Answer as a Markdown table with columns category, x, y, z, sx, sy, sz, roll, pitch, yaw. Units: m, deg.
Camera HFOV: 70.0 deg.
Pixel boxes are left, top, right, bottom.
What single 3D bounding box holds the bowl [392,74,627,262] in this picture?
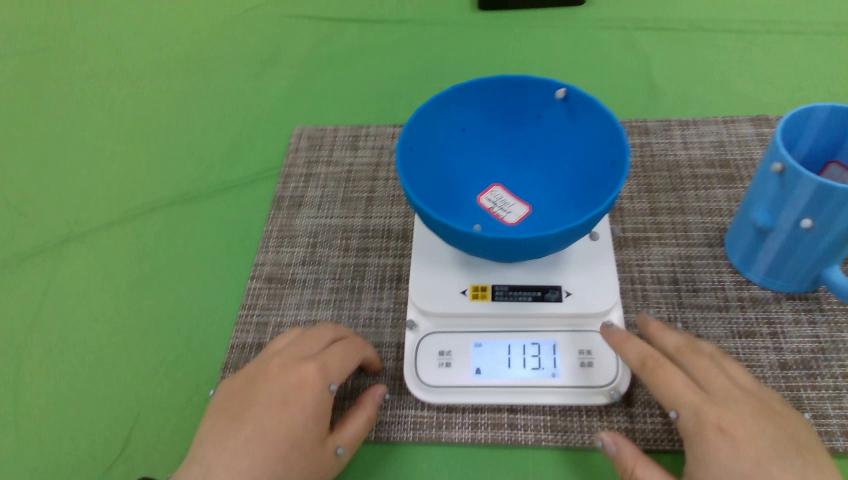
| category | x | y | z | sx | sy | sz | roll | pitch | yaw |
| --- | --- | --- | --- | --- | --- | --- | --- | --- | --- |
| bowl | 0.057 | -0.037 | 0.419 | 0.151 | 0.077 | 0.150 | -2 | 52 | 3 |

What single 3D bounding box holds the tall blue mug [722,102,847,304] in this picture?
| category | x | y | z | sx | sy | sz | roll | pitch | yaw |
| --- | --- | --- | --- | --- | --- | --- | --- | --- | --- |
| tall blue mug | 0.267 | -0.018 | 0.400 | 0.106 | 0.109 | 0.077 | 34 | 62 | 28 |

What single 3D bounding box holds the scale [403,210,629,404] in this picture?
| category | x | y | z | sx | sy | sz | roll | pitch | yaw |
| --- | --- | --- | --- | --- | --- | --- | --- | --- | --- |
| scale | 0.063 | 0.020 | 0.442 | 0.148 | 0.032 | 0.199 | -1 | 53 | 6 |
